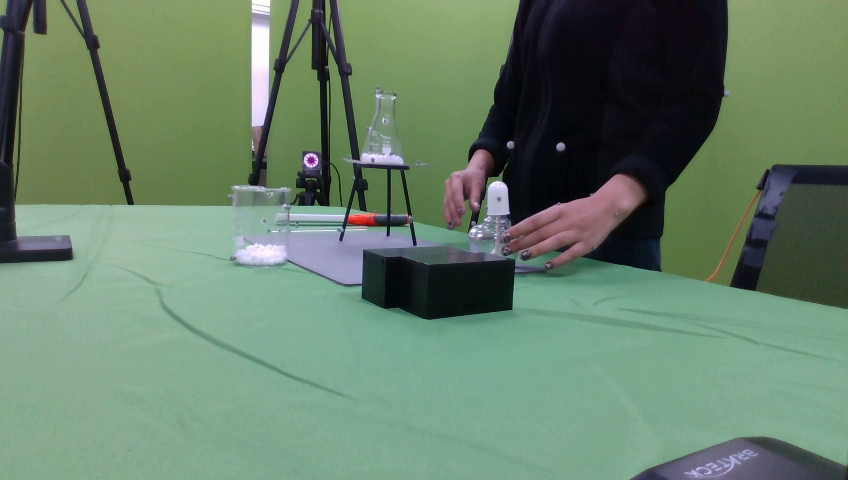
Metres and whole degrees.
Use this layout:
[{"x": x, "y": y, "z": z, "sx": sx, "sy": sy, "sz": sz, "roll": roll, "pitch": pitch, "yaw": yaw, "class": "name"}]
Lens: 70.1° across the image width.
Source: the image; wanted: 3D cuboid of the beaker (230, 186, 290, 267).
[{"x": -0.209, "y": -0.019, "z": 0.778, "sx": 0.074, "sy": 0.100, "sz": 0.084, "roll": 3, "pitch": 6, "yaw": 4, "class": "beaker"}]

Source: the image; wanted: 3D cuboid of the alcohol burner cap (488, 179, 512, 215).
[{"x": 0.101, "y": -0.058, "z": 0.816, "sx": 0.034, "sy": 0.048, "sz": 0.034, "roll": -5, "pitch": 9, "yaw": 1, "class": "alcohol burner cap"}]

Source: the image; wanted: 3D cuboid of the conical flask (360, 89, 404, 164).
[{"x": -0.067, "y": -0.189, "z": 1.010, "sx": 0.075, "sy": 0.122, "sz": 0.075, "roll": 4, "pitch": 6, "yaw": 0, "class": "conical flask"}]

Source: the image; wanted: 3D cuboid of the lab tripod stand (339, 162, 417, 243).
[{"x": -0.067, "y": -0.065, "z": 1.027, "sx": 0.148, "sy": 0.131, "sz": 0.148, "roll": 4, "pitch": 7, "yaw": 0, "class": "lab tripod stand"}]

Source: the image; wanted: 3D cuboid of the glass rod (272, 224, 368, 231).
[{"x": -0.197, "y": -0.024, "z": 1.169, "sx": 0.201, "sy": 0.008, "sz": 0.008, "roll": -3, "pitch": 9, "yaw": -34, "class": "glass rod"}]

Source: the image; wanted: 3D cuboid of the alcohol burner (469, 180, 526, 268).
[{"x": 0.101, "y": -0.022, "z": 0.821, "sx": 0.078, "sy": 0.119, "sz": 0.078, "roll": 4, "pitch": 7, "yaw": 0, "class": "alcohol burner"}]

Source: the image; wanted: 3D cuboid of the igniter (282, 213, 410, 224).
[{"x": -0.159, "y": -0.046, "z": 1.287, "sx": 0.278, "sy": 0.025, "sz": 0.057, "roll": -1, "pitch": -2, "yaw": -22, "class": "igniter"}]

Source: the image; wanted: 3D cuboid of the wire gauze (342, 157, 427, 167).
[{"x": -0.065, "y": -0.130, "z": 1.016, "sx": 0.122, "sy": 0.011, "sz": 0.124, "roll": 2, "pitch": 5, "yaw": -27, "class": "wire gauze"}]
